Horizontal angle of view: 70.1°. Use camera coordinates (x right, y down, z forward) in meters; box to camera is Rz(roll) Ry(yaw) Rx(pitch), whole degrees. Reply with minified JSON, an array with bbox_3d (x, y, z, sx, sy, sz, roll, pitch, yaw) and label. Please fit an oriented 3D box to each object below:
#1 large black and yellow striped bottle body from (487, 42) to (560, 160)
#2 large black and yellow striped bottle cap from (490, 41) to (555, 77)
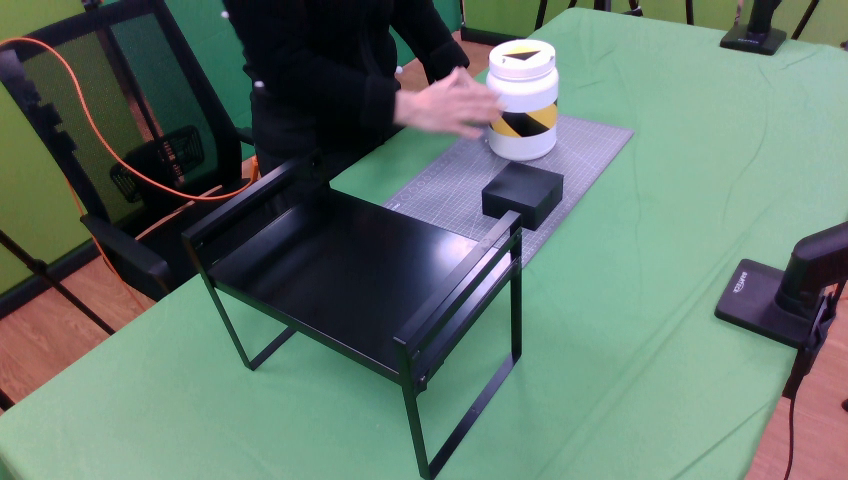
[{"bbox_3d":[0.184,-0.258,1.120,0.131,0.185,0.130,-5,41,5],"label":"large black and yellow striped bottle body"},{"bbox_3d":[0.174,-0.320,1.065,0.115,0.019,0.114,-4,39,4],"label":"large black and yellow striped bottle cap"}]
